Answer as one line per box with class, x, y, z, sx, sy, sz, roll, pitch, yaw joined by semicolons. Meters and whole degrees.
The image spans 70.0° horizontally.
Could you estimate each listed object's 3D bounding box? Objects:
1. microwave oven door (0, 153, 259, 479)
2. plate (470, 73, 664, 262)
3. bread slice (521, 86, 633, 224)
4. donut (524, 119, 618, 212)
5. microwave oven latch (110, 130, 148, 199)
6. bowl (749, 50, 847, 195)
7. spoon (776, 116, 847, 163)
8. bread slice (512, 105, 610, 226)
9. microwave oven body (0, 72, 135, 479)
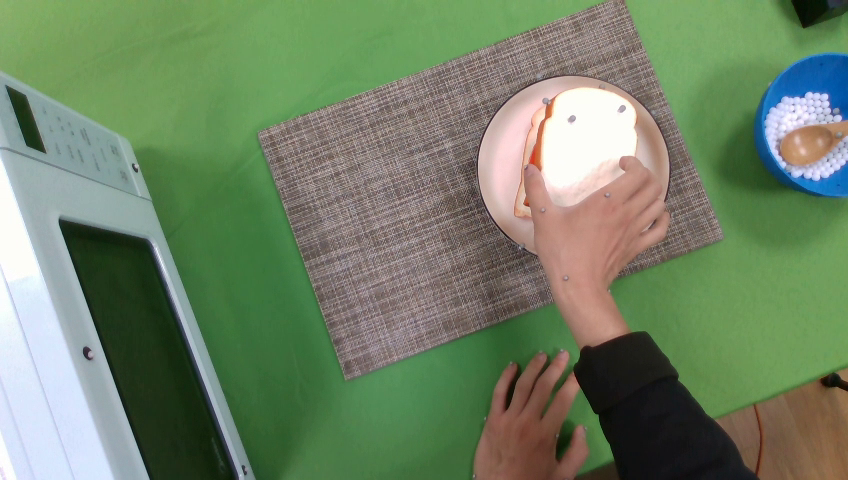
microwave oven door;-0.253;0.113;0.542;0.039;0.244;0.355;-23;85;-1
plate;0.154;-0.077;0.667;0.208;0.039;0.207;0;85;1
bread slice;0.158;-0.089;0.607;0.105;0.019;0.131;9;85;-3
donut;0.154;-0.078;0.640;0.099;0.048;0.099;0;86;0
microwave oven latch;-0.332;-0.078;0.662;0.030;0.029;0.079;-23;86;-2
bowl;0.413;-0.116;0.650;0.151;0.077;0.151;0;84;1
spoon;0.461;-0.132;0.619;0.193;0.022;0.041;-26;79;21
bread slice;0.154;-0.085;0.669;0.107;0.018;0.134;4;85;1
microwave oven body;-0.405;0.131;0.549;0.326;0.260;0.440;-23;85;-2
